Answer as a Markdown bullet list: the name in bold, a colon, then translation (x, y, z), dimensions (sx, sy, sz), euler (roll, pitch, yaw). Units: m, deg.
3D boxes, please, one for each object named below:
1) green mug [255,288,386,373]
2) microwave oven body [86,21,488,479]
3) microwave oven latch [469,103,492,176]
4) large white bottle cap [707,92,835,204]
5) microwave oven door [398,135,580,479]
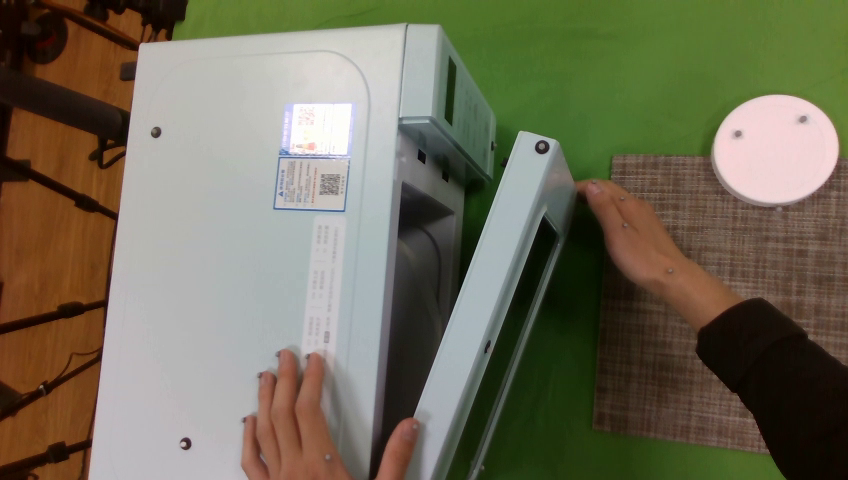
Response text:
- **green mug**: translation (-0.103, 0.094, 0.642), dimensions (0.125, 0.105, 0.092), euler (-10, 82, 13)
- **microwave oven body**: translation (-0.122, 0.045, 0.630), dimensions (0.325, 0.261, 0.440), euler (2, 85, 17)
- **microwave oven latch**: translation (0.062, -0.114, 0.690), dimensions (0.030, 0.029, 0.079), euler (3, 86, 17)
- **large white bottle cap**: translation (0.353, -0.094, 0.620), dimensions (0.114, 0.018, 0.114), euler (-2, 83, 17)
- **microwave oven door**: translation (0.059, 0.101, 0.561), dimensions (0.039, 0.245, 0.355), euler (20, 90, 20)
